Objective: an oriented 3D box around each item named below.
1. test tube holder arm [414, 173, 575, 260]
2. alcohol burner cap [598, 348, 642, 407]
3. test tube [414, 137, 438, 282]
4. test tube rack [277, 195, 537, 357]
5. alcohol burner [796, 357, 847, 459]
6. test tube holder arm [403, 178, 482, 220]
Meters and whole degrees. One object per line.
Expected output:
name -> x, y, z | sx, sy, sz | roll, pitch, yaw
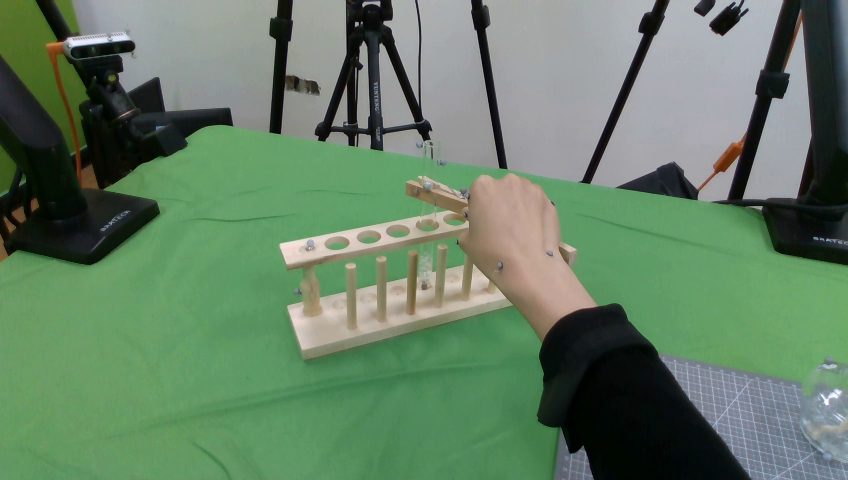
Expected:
test tube holder arm -> 0.053, -0.024, 0.516 | 0.013, 0.015, 0.176 | -28, 41, -36
alcohol burner cap -> 0.165, 0.111, 0.502 | 0.034, 0.048, 0.033 | 2, 36, -1
test tube -> 0.001, -0.024, 0.568 | 0.017, 0.151, 0.017 | 3, 31, -1
test tube rack -> -0.009, 0.029, 0.578 | 0.243, 0.086, 0.066 | -12, 37, -20
alcohol burner -> 0.329, 0.108, 0.452 | 0.078, 0.120, 0.077 | 2, 37, -1
test tube holder arm -> 0.017, -0.037, 0.539 | 0.087, 0.015, 0.010 | 22, 38, 31
